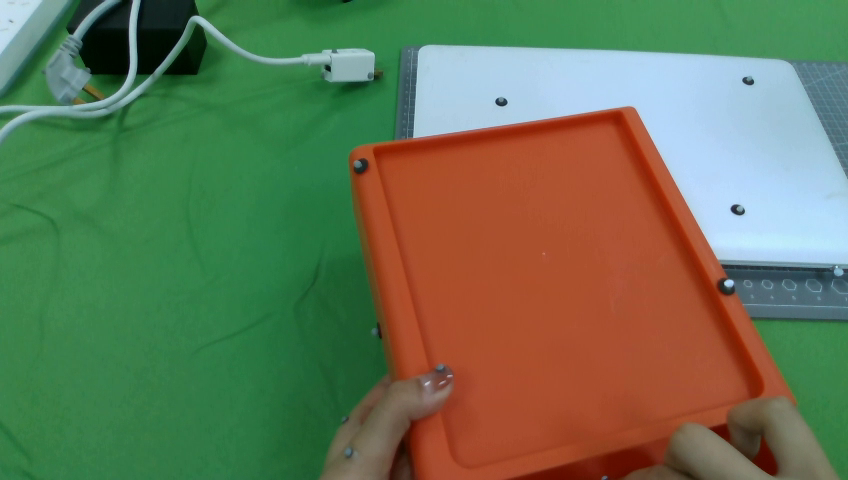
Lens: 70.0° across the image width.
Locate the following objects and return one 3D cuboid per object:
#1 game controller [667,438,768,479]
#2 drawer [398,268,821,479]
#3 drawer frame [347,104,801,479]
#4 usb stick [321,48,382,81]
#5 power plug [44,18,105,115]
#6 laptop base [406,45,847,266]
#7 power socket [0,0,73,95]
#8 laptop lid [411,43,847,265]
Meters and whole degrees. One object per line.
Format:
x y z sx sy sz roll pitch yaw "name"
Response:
0.108 0.155 0.291 0.155 0.052 0.096 -8 69 -12 "game controller"
0.096 0.117 0.323 0.195 0.074 0.209 -9 60 -11 "drawer"
0.071 0.033 0.369 0.202 0.083 0.211 -11 60 -10 "drawer frame"
-0.065 -0.162 0.557 0.059 0.027 0.021 -12 31 -36 "usb stick"
-0.290 -0.146 0.520 0.072 0.053 0.035 -51 35 0 "power plug"
0.165 -0.078 0.514 0.354 0.023 0.233 2 57 -1 "laptop base"
-0.403 -0.217 0.587 0.072 0.033 0.224 5 53 0 "power socket"
0.165 -0.083 0.503 0.357 0.013 0.239 3 56 0 "laptop lid"
